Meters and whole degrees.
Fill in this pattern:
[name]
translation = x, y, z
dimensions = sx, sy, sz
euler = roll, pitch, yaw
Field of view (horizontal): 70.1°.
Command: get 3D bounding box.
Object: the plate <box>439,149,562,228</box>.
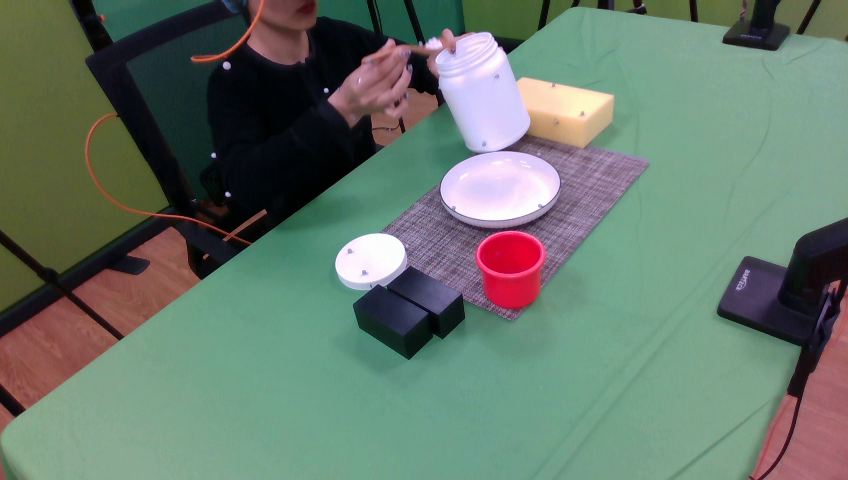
[plate]
translation = 0.131, -0.085, 1.040
dimensions = 0.209, 0.038, 0.208
euler = -5, 41, 5

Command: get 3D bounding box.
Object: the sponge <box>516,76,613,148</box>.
[sponge]
translation = 0.254, -0.259, 1.207
dimensions = 0.205, 0.061, 0.118
euler = 22, 47, 31

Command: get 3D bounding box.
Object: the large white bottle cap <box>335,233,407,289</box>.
[large white bottle cap]
translation = -0.085, 0.032, 0.961
dimensions = 0.115, 0.018, 0.114
euler = -6, 41, 6

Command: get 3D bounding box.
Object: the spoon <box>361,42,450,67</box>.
[spoon]
translation = -0.027, -0.282, 0.913
dimensions = 0.041, 0.022, 0.195
euler = 18, 29, 36

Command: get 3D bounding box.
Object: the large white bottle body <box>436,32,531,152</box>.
[large white bottle body]
translation = 0.106, -0.269, 1.106
dimensions = 0.130, 0.186, 0.130
euler = -20, 32, 14
